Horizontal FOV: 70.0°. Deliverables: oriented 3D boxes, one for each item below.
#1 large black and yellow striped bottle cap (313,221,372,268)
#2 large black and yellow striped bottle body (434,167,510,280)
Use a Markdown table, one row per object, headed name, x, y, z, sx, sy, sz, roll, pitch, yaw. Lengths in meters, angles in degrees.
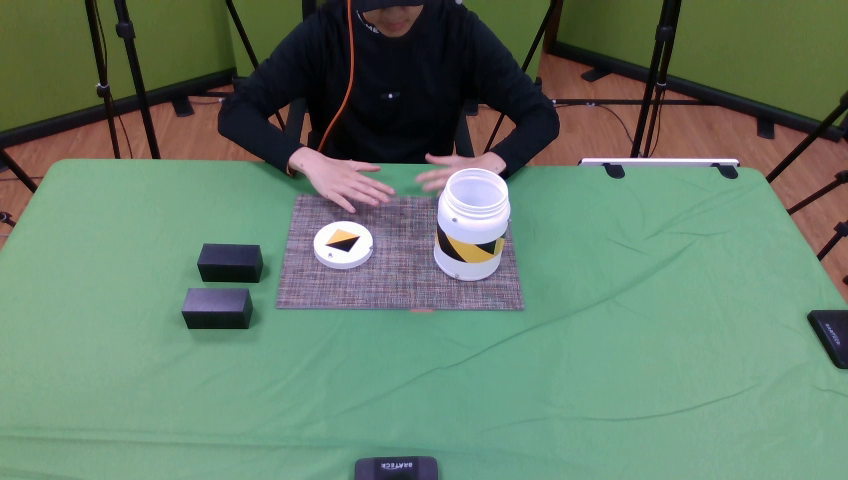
| name | x | y | z | sx | sy | sz | roll | pitch | yaw |
| --- | --- | --- | --- | --- | --- | --- | --- | --- | --- |
| large black and yellow striped bottle cap | -0.158 | 0.007 | 1.176 | 0.115 | 0.019 | 0.114 | 2 | 45 | -2 |
| large black and yellow striped bottle body | 0.087 | -0.031 | 1.114 | 0.131 | 0.185 | 0.130 | 2 | 46 | -2 |
